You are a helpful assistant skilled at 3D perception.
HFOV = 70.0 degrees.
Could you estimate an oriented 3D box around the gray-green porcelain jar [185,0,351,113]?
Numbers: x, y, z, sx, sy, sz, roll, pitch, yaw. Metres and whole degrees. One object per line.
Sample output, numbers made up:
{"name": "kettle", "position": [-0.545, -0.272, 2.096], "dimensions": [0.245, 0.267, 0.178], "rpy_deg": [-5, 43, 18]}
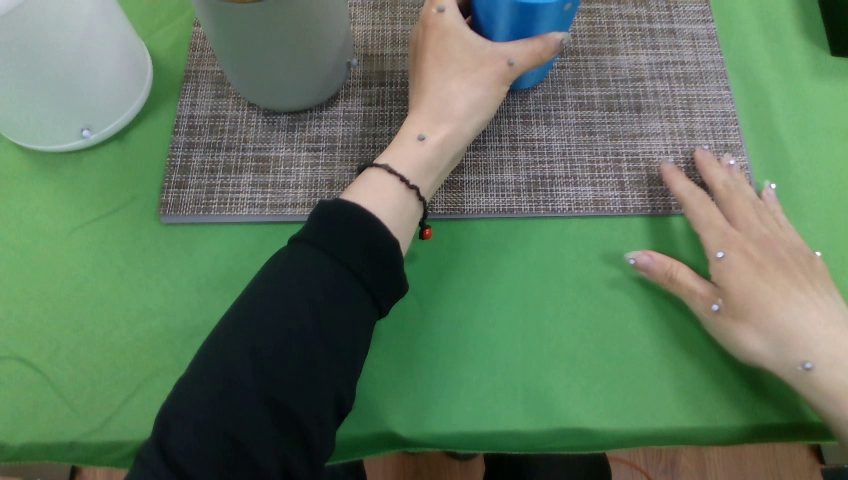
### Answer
{"name": "gray-green porcelain jar", "position": [-0.111, -0.166, 0.449], "dimensions": [0.106, 0.127, 0.105], "rpy_deg": [0, 67, 1]}

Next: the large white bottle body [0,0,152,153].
{"name": "large white bottle body", "position": [-0.289, -0.161, 0.419], "dimensions": [0.130, 0.186, 0.129], "rpy_deg": [0, 66, 1]}

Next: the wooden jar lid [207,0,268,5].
{"name": "wooden jar lid", "position": [-0.111, -0.191, 0.391], "dimensions": [0.108, 0.021, 0.107], "rpy_deg": [-1, 68, 3]}

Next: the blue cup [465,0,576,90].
{"name": "blue cup", "position": [0.070, -0.170, 0.462], "dimensions": [0.092, 0.101, 0.092], "rpy_deg": [0, 64, 0]}
